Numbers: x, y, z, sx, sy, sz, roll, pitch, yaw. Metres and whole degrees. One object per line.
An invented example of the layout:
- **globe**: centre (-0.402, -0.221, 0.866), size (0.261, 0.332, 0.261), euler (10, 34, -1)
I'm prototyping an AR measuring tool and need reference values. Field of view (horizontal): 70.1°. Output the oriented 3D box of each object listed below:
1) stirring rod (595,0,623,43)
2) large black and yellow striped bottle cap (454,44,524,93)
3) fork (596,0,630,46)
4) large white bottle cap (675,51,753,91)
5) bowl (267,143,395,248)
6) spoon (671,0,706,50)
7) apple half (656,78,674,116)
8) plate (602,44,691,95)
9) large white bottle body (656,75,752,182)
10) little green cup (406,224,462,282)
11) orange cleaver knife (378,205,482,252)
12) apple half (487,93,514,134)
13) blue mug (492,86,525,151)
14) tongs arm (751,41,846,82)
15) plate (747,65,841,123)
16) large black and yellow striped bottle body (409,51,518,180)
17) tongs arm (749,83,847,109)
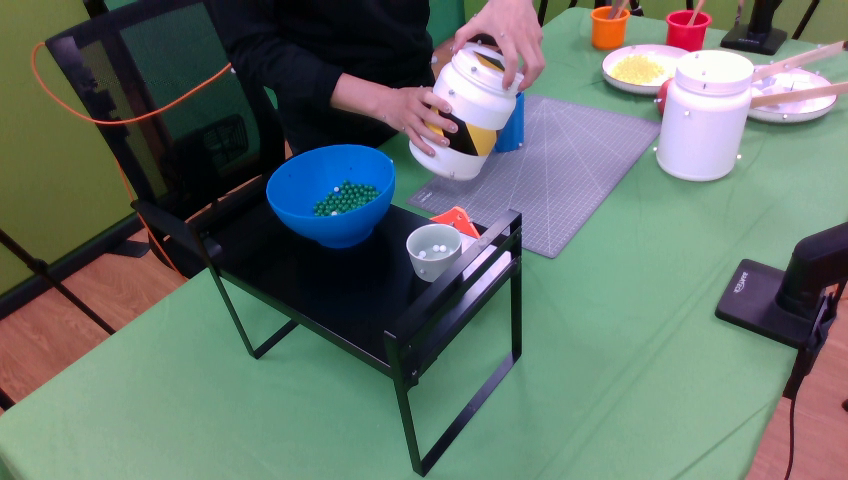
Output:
- **stirring rod**: centre (0.460, -0.556, 1.459), size (0.014, 0.006, 0.176), euler (30, 93, 23)
- **large black and yellow striped bottle cap**: centre (0.102, -0.265, 0.934), size (0.115, 0.019, 0.114), euler (19, 35, -13)
- **fork**: centre (0.481, -0.556, 1.452), size (0.028, 0.019, 0.207), euler (40, 103, 40)
- **large white bottle cap**: centre (0.463, -0.271, 0.967), size (0.115, 0.018, 0.114), euler (-4, 40, 3)
- **bowl**: centre (-0.104, -0.043, 0.726), size (0.151, 0.077, 0.150), euler (-4, 40, 4)
- **spoon**: centre (0.628, -0.520, 1.394), size (0.041, 0.022, 0.193), euler (30, 96, 34)
- **apple half**: centre (0.488, -0.281, 1.192), size (0.053, 0.075, 0.081), euler (24, 53, 37)
- **plate**: centre (0.495, -0.366, 1.317), size (0.209, 0.038, 0.208), euler (-4, 40, 4)
- **large white bottle body**: centre (0.472, -0.207, 1.022), size (0.130, 0.185, 0.130), euler (-4, 41, 4)
- **little green cup**: centre (0.012, 0.015, 0.668), size (0.061, 0.039, 0.061), euler (-4, 40, 4)
- **orange cleaver knife**: centre (0.005, -0.010, 0.944), size (0.210, 0.077, 0.012), euler (-4, 23, 47)
- **apple half**: centre (0.142, -0.239, 1.158), size (0.033, 0.081, 0.080), euler (-12, 40, -16)
- **blue mug**: centre (0.138, -0.240, 1.169), size (0.116, 0.106, 0.082), euler (10, 44, 21)
- **tongs arm**: centre (0.708, -0.331, 1.194), size (0.386, 0.026, 0.050), euler (-19, 45, -16)
- **plate**: centre (0.694, -0.283, 1.189), size (0.207, 0.039, 0.206), euler (-4, 40, 4)
- **large black and yellow striped bottle body**: centre (0.068, -0.205, 0.981), size (0.131, 0.184, 0.130), euler (19, 34, -13)
- **tongs arm**: centre (0.734, -0.280, 1.133), size (0.388, 0.028, 0.028), euler (-9, 47, -5)
